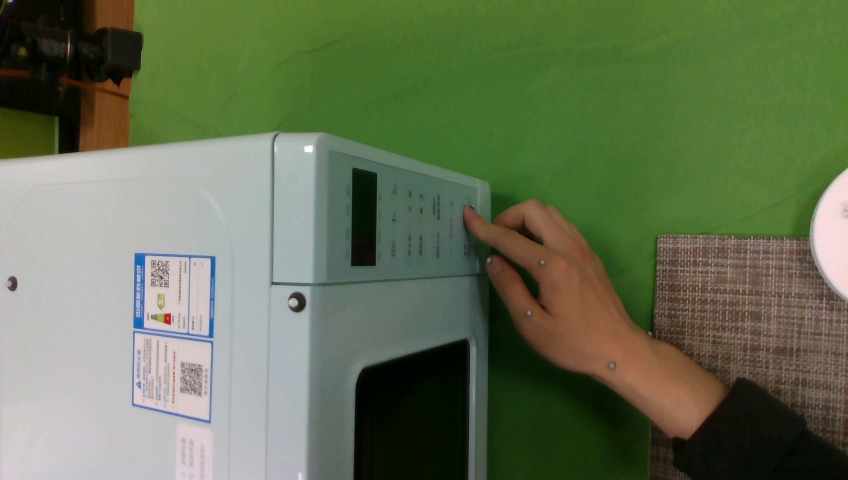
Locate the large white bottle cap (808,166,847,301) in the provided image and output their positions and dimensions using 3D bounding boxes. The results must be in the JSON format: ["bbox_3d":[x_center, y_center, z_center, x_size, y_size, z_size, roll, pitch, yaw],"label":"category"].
[{"bbox_3d":[0.312,-0.004,0.386,0.114,0.018,0.114,-1,88,27],"label":"large white bottle cap"}]

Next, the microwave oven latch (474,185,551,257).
[{"bbox_3d":[0.062,-0.016,0.490,0.078,0.029,0.030,38,107,23],"label":"microwave oven latch"}]

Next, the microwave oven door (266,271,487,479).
[{"bbox_3d":[-0.018,0.201,0.415,0.039,0.245,0.355,1,90,28],"label":"microwave oven door"}]

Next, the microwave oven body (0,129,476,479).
[{"bbox_3d":[-0.144,0.157,0.487,0.324,0.261,0.441,1,90,27],"label":"microwave oven body"}]

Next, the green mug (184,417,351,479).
[{"bbox_3d":[-0.120,0.200,0.499,0.125,0.105,0.092,-15,86,20],"label":"green mug"}]
